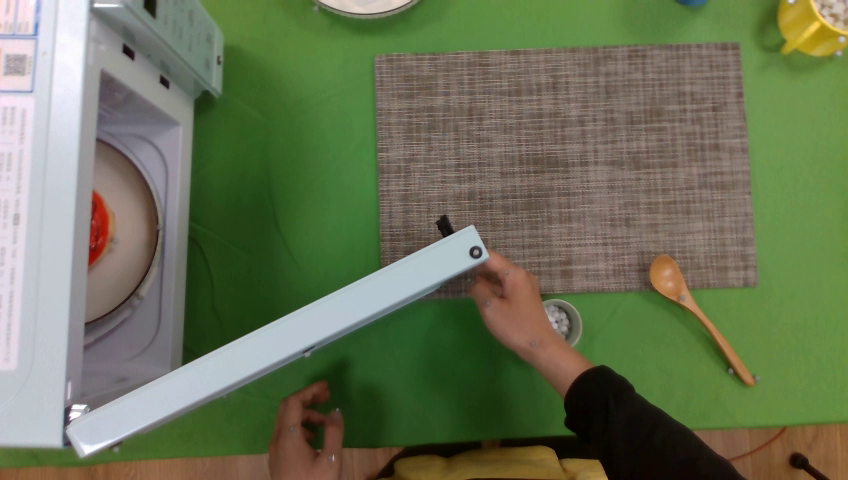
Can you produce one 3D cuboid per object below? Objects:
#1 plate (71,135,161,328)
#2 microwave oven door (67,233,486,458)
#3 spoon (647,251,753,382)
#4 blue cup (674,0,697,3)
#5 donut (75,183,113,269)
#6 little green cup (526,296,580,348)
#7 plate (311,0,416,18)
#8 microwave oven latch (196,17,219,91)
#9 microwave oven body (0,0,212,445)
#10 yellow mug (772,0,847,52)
[{"bbox_3d":[-0.385,-0.009,0.648,0.209,0.038,0.208,0,86,-2],"label":"plate"},{"bbox_3d":[-0.113,0.088,0.587,0.356,0.244,0.039,-26,85,-2],"label":"microwave oven door"},{"bbox_3d":[0.326,0.093,0.713,0.041,0.021,0.193,-39,88,-19],"label":"spoon"},{"bbox_3d":[0.324,-0.327,0.705,0.092,0.100,0.092,0,87,0],"label":"blue cup"},{"bbox_3d":[-0.381,-0.015,0.640,0.099,0.048,0.099,0,88,2],"label":"donut"},{"bbox_3d":[0.147,0.096,0.707,0.061,0.039,0.061,0,82,1],"label":"little green cup"},{"bbox_3d":[-0.073,-0.367,0.738,0.208,0.039,0.207,0,86,0],"label":"plate"},{"bbox_3d":[-0.258,-0.217,0.709,0.030,0.029,0.079,2,87,0],"label":"microwave oven latch"},{"bbox_3d":[-0.408,-0.050,0.600,0.326,0.260,0.441,0,87,-1],"label":"microwave oven body"},{"bbox_3d":[0.470,-0.274,0.719,0.131,0.064,0.100,-44,87,-2],"label":"yellow mug"}]
